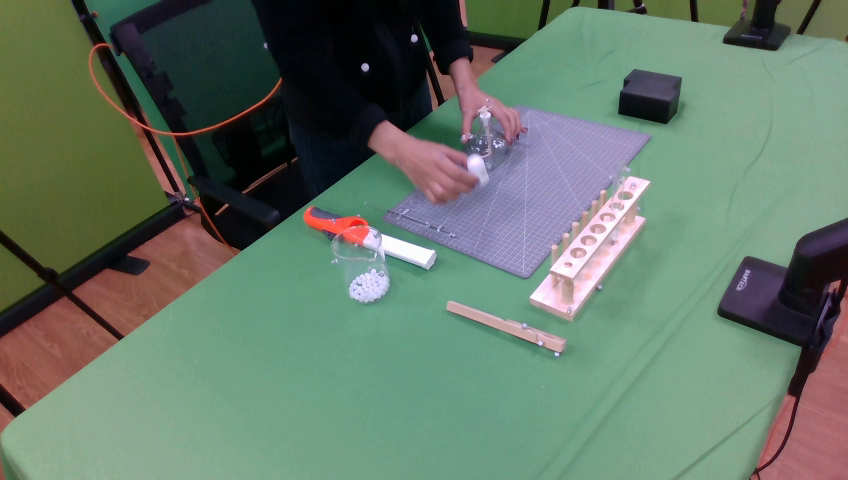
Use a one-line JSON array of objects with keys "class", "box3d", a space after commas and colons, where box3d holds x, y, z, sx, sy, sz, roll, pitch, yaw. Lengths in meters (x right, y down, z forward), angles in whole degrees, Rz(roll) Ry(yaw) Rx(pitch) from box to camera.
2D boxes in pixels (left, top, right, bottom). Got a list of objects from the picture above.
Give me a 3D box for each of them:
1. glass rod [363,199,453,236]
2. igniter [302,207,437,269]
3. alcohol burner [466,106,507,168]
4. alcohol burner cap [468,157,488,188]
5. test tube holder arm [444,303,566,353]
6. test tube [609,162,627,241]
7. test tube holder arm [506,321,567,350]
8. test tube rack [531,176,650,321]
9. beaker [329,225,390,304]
[{"class": "glass rod", "box3d": [-0.031, -0.041, 1.041, 0.198, 0.008, 0.008, 22, 50, 31]}, {"class": "igniter", "box3d": [-0.100, -0.008, 1.004, 0.274, 0.025, 0.057, 18, 57, 29]}, {"class": "alcohol burner", "box3d": [0.114, -0.193, 1.112, 0.078, 0.119, 0.077, -4, 41, 4]}, {"class": "alcohol burner cap", "box3d": [0.085, -0.110, 0.969, 0.034, 0.048, 0.033, -6, 43, 6]}, {"class": "test tube holder arm", "box3d": [0.107, 0.117, 0.823, 0.177, 0.015, 0.013, 16, 11, 27]}, {"class": "test tube", "box3d": [0.277, -0.051, 0.864, 0.017, 0.151, 0.017, -6, 47, 7]}, {"class": "test tube holder arm", "box3d": [0.148, 0.128, 0.808, 0.087, 0.015, 0.010, 16, 11, 28]}, {"class": "test tube rack", "box3d": [0.246, 0.002, 0.884, 0.066, 0.085, 0.243, 22, 49, 32]}, {"class": "beaker", "box3d": [-0.089, 0.040, 0.890, 0.074, 0.101, 0.083, -32, 45, -24]}]
